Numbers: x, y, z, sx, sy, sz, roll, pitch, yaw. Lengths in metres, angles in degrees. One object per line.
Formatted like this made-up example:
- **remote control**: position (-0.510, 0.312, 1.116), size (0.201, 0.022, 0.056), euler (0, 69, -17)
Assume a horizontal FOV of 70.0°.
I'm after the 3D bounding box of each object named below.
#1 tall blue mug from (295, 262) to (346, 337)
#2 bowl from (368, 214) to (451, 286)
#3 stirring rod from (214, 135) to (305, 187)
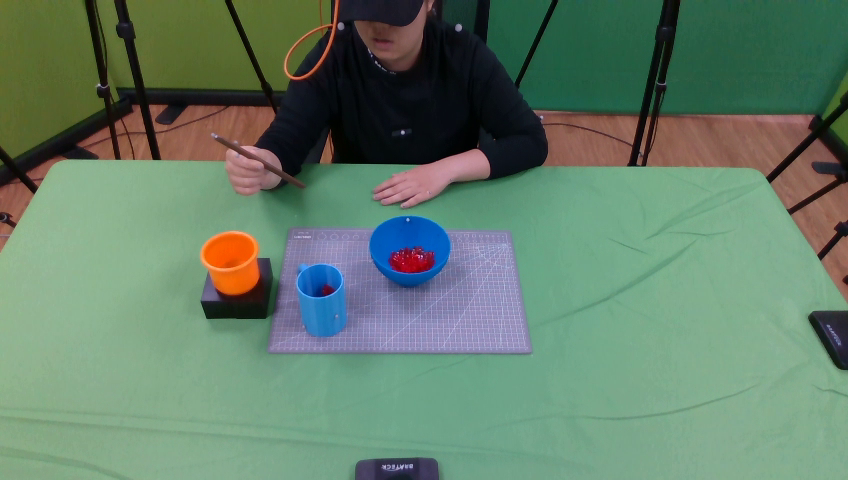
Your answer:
- **tall blue mug**: position (-0.187, 0.096, 1.027), size (0.107, 0.108, 0.077), euler (21, 49, 16)
- **bowl**: position (-0.027, 0.031, 1.122), size (0.151, 0.077, 0.150), euler (2, 46, -2)
- **stirring rod**: position (-0.257, -0.123, 0.964), size (0.014, 0.177, 0.006), euler (-16, 60, 34)
